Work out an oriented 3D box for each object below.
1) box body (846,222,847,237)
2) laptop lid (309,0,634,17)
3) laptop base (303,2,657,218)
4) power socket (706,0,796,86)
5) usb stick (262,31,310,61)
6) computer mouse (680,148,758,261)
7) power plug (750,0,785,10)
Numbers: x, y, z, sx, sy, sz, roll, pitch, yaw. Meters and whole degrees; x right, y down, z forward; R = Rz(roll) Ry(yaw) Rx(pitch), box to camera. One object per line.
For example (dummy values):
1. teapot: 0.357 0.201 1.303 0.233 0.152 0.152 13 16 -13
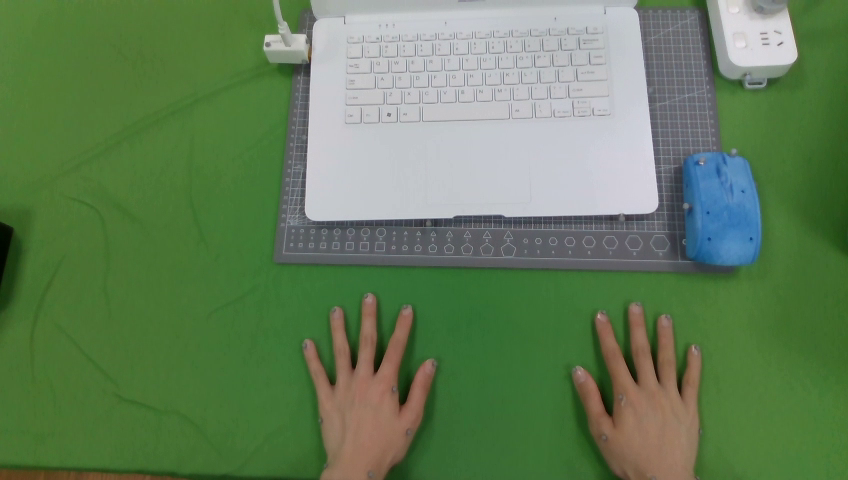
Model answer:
1. box body: 0.570 -0.115 0.525 0.253 0.161 0.363 24 77 10
2. laptop lid: 0.045 -0.325 0.577 0.356 0.244 0.013 -2 50 4
3. laptop base: 0.053 -0.137 0.636 0.354 0.023 0.234 -1 77 3
4. power socket: 0.342 -0.274 0.652 0.072 0.033 0.225 -1 74 1
5. usb stick: -0.141 -0.209 0.654 0.059 0.027 0.021 3 69 2
6. computer mouse: 0.282 -0.037 0.582 0.063 0.041 0.116 4 70 6
7. power plug: 0.371 -0.250 0.619 0.072 0.053 0.035 9 73 4
